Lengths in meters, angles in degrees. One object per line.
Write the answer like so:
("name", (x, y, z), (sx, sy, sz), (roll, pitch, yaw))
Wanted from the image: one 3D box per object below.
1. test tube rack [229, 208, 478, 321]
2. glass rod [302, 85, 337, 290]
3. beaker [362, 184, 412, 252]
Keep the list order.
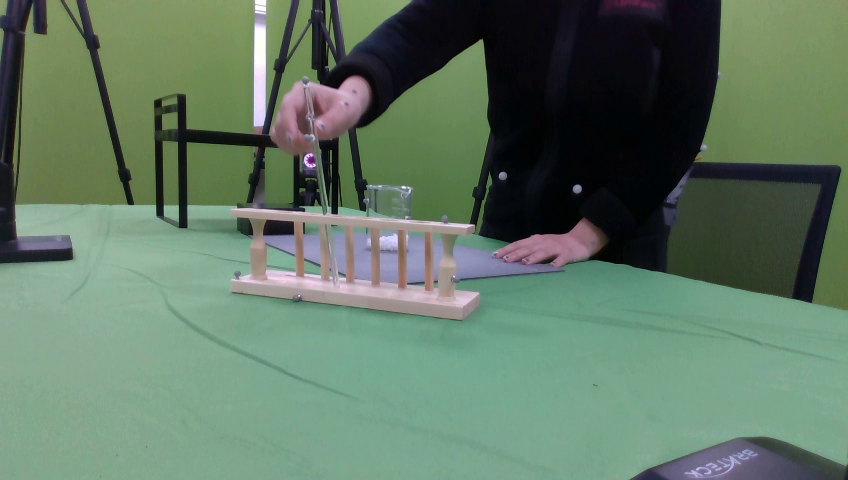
("test tube rack", (-0.070, 0.018, 0.597), (0.242, 0.085, 0.067), (5, 7, 18))
("glass rod", (-0.100, -0.047, 0.577), (0.008, 0.199, 0.008), (-6, 8, 1))
("beaker", (-0.056, -0.034, 0.934), (0.083, 0.100, 0.074), (10, 11, 44))
